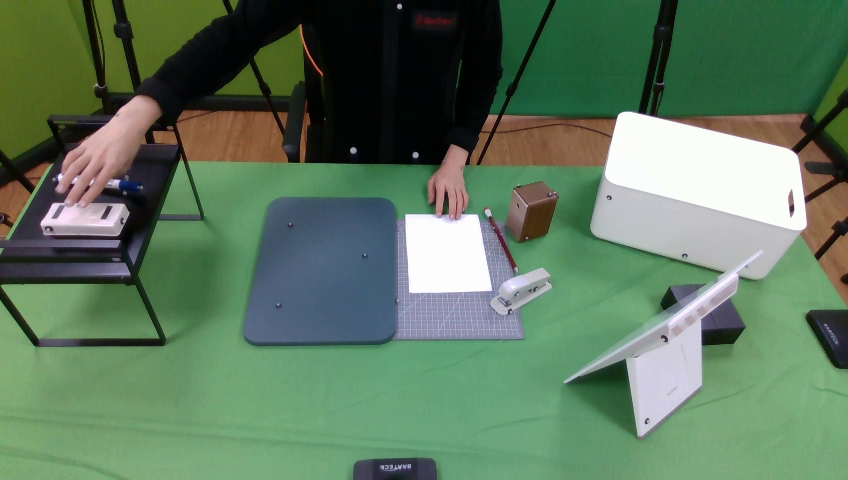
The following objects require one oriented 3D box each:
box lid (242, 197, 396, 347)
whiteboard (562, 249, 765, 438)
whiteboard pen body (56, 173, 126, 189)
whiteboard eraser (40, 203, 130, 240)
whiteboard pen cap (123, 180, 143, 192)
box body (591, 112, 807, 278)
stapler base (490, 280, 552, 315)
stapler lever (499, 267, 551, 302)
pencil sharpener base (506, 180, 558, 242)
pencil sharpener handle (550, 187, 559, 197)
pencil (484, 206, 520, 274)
[{"bbox_3d":[-0.186,0.046,1.147,0.263,0.015,0.369,0,46,-3],"label":"box lid"},{"bbox_3d":[0.386,0.175,0.905,0.217,0.306,0.143,-26,72,-26],"label":"whiteboard"},{"bbox_3d":[-0.539,-0.096,0.998,0.141,0.017,0.017,6,46,6],"label":"whiteboard pen body"},{"bbox_3d":[-0.513,-0.028,0.922,0.113,0.042,0.055,1,48,-3],"label":"whiteboard eraser"},{"bbox_3d":[-0.480,-0.089,0.994,0.033,0.018,0.018,7,46,15],"label":"whiteboard pen cap"},{"bbox_3d":[0.540,-0.092,1.230,0.363,0.161,0.253,16,47,11],"label":"box body"},{"bbox_3d":[0.181,0.094,1.118,0.130,0.024,0.041,-24,56,-29],"label":"stapler base"},{"bbox_3d":[0.185,0.076,1.101,0.118,0.040,0.026,-25,56,-29],"label":"stapler lever"},{"bbox_3d":[0.216,-0.058,1.211,0.077,0.107,0.061,-16,49,-19],"label":"pencil sharpener base"},{"bbox_3d":[0.261,-0.084,1.221,0.031,0.068,0.036,-16,66,-19],"label":"pencil sharpener handle"},{"bbox_3d":[0.157,-0.002,1.218,0.012,0.012,0.192,-10,48,-13],"label":"pencil"}]
